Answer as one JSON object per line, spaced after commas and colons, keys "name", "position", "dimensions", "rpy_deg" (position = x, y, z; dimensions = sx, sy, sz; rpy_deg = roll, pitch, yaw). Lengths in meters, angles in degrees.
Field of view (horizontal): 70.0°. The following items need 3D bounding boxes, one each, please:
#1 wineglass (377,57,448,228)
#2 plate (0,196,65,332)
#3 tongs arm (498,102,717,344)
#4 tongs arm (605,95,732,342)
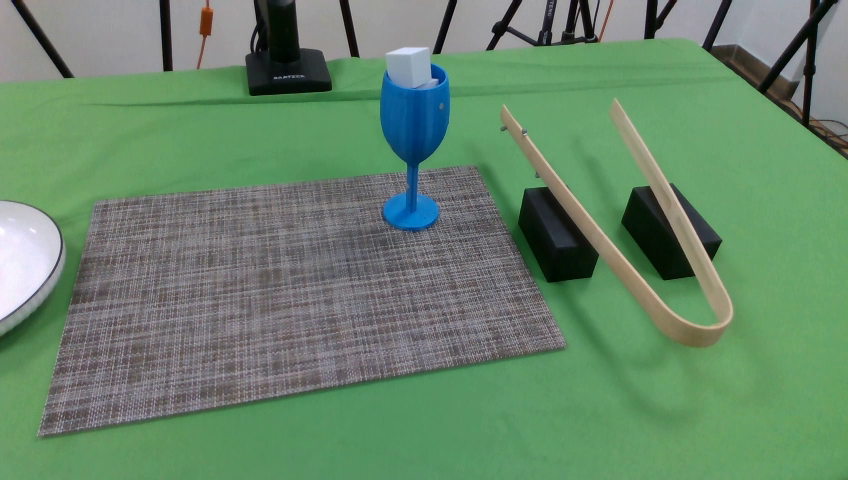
{"name": "wineglass", "position": [-0.014, -0.099, 0.642], "dimensions": [0.074, 0.174, 0.073], "rpy_deg": [2, 43, -2]}
{"name": "plate", "position": [-0.446, 0.036, 0.565], "dimensions": [0.209, 0.038, 0.207], "rpy_deg": [2, 42, -2]}
{"name": "tongs arm", "position": [0.170, -0.043, 0.640], "dimensions": [0.051, 0.027, 0.380], "rpy_deg": [-7, 44, -15]}
{"name": "tongs arm", "position": [0.249, -0.050, 0.656], "dimensions": [0.028, 0.028, 0.383], "rpy_deg": [4, 42, -8]}
